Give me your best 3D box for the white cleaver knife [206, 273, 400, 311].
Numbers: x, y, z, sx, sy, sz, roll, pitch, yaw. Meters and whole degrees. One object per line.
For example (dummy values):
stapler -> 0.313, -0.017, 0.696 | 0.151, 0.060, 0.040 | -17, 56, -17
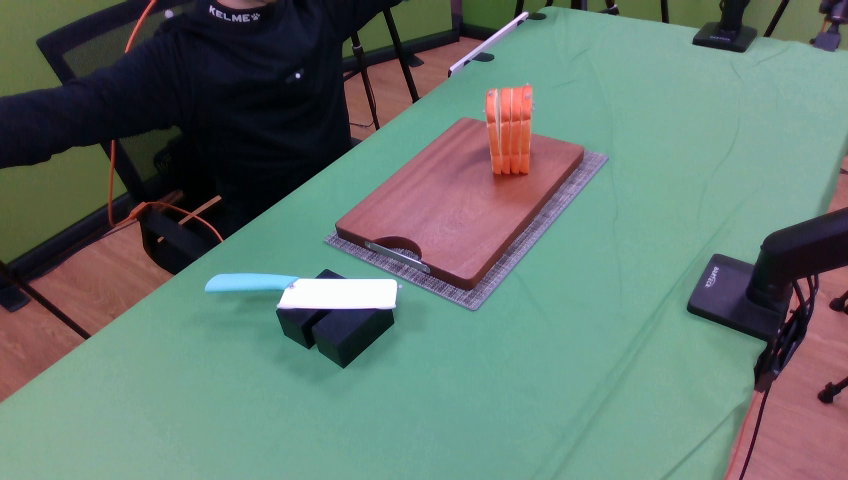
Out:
white cleaver knife -> -0.173, 0.071, 0.846 | 0.286, 0.021, 0.065 | 0, 40, 11

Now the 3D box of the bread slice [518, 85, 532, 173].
bread slice -> 0.175, -0.196, 1.044 | 0.018, 0.135, 0.106 | 2, 44, 7

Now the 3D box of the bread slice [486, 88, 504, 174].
bread slice -> 0.124, -0.197, 1.053 | 0.019, 0.132, 0.104 | -4, 39, 12
